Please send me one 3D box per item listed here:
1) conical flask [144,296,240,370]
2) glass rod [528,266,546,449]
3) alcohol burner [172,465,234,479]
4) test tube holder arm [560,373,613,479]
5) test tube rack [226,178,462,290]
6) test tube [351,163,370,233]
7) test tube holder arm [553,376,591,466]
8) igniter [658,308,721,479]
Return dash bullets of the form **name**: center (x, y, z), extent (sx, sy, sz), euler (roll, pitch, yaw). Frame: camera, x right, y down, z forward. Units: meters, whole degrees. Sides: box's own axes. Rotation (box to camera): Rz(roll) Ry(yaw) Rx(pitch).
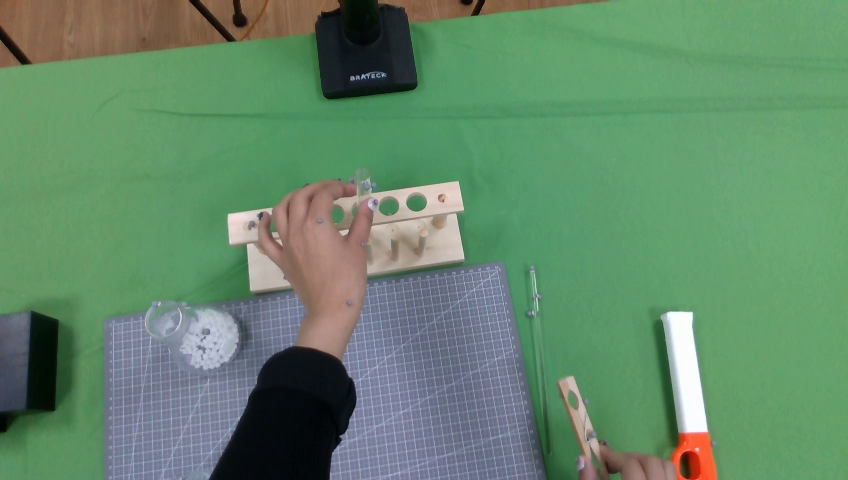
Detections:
- **conical flask**: center (-0.237, 0.088, 0.609), extent (0.075, 0.122, 0.075), euler (0, 72, -1)
- **glass rod**: center (0.124, 0.126, 0.665), extent (0.008, 0.008, 0.198), euler (-1, 75, -2)
- **alcohol burner**: center (-0.214, 0.251, 0.564), extent (0.078, 0.120, 0.077), euler (0, 71, 1)
- **test tube holder arm**: center (0.169, 0.215, 0.585), extent (0.013, 0.015, 0.178), euler (-22, 82, 2)
- **test tube rack**: center (-0.081, -0.004, 0.663), extent (0.242, 0.085, 0.066), euler (-8, 73, -4)
- **test tube**: center (-0.064, -0.039, 0.622), extent (0.017, 0.151, 0.017), euler (1, 70, -4)
- **test tube holder arm**: center (0.147, 0.175, 0.591), extent (0.010, 0.015, 0.087), euler (-21, 82, 2)
- **igniter**: center (0.278, 0.208, 0.634), extent (0.057, 0.025, 0.275), euler (3, 73, -10)
